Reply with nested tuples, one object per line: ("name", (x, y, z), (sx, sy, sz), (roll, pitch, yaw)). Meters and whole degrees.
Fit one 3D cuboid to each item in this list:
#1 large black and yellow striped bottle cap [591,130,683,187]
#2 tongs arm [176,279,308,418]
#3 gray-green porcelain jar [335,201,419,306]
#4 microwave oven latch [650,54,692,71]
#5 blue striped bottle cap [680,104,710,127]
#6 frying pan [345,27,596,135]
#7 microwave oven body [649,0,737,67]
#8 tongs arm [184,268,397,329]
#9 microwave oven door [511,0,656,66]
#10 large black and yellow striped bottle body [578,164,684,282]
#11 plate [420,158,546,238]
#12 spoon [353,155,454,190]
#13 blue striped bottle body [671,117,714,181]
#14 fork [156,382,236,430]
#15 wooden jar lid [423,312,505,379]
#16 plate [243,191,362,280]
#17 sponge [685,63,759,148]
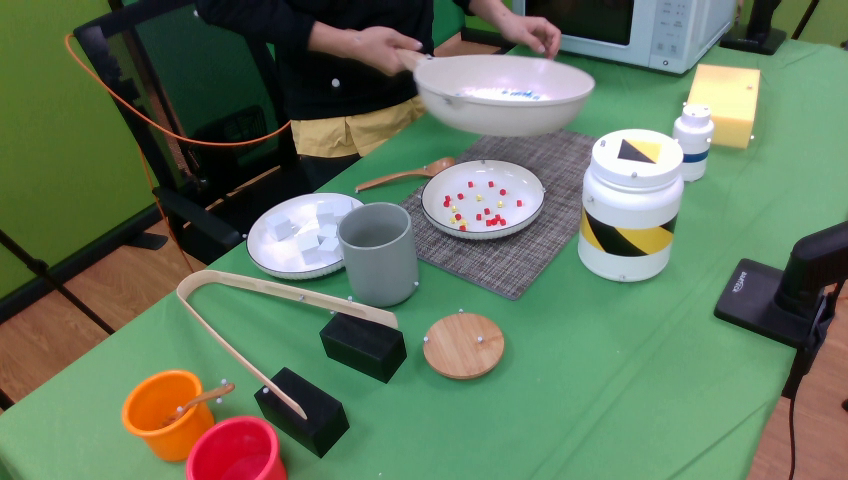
("large black and yellow striped bottle cap", (0.282, -0.111, 0.803), (0.115, 0.019, 0.114), (-2, 41, 3))
("tongs arm", (-0.255, 0.132, 0.801), (0.028, 0.028, 0.384), (-41, 40, -23))
("gray-green porcelain jar", (-0.064, 0.024, 0.872), (0.106, 0.127, 0.105), (-4, 41, 4))
("microwave oven latch", (0.531, -0.386, 1.301), (0.078, 0.029, 0.030), (25, 51, 32))
("blue striped bottle cap", (0.443, -0.205, 0.989), (0.044, 0.021, 0.044), (-1, 41, 2))
("frying pan", (0.051, -0.294, 1.051), (0.484, 0.103, 0.308), (29, 38, 25))
("microwave oven body", (0.475, -0.602, 1.411), (0.438, 0.261, 0.327), (23, 50, 32))
("tongs arm", (-0.202, 0.084, 0.848), (0.382, 0.027, 0.051), (11, 44, 35))
("microwave oven door", (0.351, -0.540, 1.350), (0.353, 0.245, 0.039), (24, 50, 31))
("large black and yellow striped bottle body", (0.291, -0.046, 0.859), (0.131, 0.185, 0.130), (-4, 41, 4))
("plate", (0.099, -0.067, 1.016), (0.209, 0.038, 0.208), (-4, 40, 4))
("spoon", (-0.038, -0.123, 1.116), (0.194, 0.022, 0.041), (-12, 57, -3))
("blue striped bottle body", (0.449, -0.165, 1.022), (0.063, 0.121, 0.063), (-5, 41, 4))
("fork", (-0.262, 0.189, 0.690), (0.018, 0.206, 0.028), (49, 43, -7))
("wooden jar lid", (0.053, 0.142, 0.800), (0.108, 0.021, 0.108), (-5, 39, 4))
("plate", (-0.188, -0.005, 0.992), (0.207, 0.039, 0.206), (-4, 41, 4))
("sponge", (0.569, -0.263, 1.164), (0.117, 0.061, 0.207), (12, 45, 22))
